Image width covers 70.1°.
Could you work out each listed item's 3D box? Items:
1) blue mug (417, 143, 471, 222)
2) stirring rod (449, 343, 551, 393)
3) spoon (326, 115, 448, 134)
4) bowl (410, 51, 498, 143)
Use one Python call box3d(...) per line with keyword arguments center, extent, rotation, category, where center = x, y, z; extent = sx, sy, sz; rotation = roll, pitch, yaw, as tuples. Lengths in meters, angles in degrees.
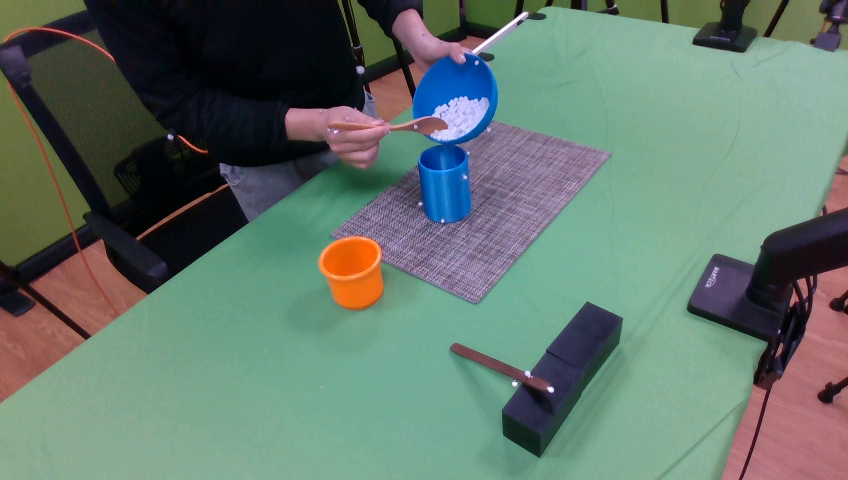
box3d(center=(0.031, -0.104, 1.014), extent=(0.082, 0.106, 0.115), rotation=(-14, 41, -7), category="blue mug")
box3d(center=(0.088, 0.154, 0.741), extent=(0.014, 0.006, 0.174), rotation=(-40, 28, -25), category="stirring rod")
box3d(center=(-0.053, -0.177, 0.931), extent=(0.195, 0.041, 0.021), rotation=(-6, 63, -24), category="spoon")
box3d(center=(0.061, -0.221, 0.990), extent=(0.150, 0.077, 0.151), rotation=(-7, 76, 28), category="bowl")
